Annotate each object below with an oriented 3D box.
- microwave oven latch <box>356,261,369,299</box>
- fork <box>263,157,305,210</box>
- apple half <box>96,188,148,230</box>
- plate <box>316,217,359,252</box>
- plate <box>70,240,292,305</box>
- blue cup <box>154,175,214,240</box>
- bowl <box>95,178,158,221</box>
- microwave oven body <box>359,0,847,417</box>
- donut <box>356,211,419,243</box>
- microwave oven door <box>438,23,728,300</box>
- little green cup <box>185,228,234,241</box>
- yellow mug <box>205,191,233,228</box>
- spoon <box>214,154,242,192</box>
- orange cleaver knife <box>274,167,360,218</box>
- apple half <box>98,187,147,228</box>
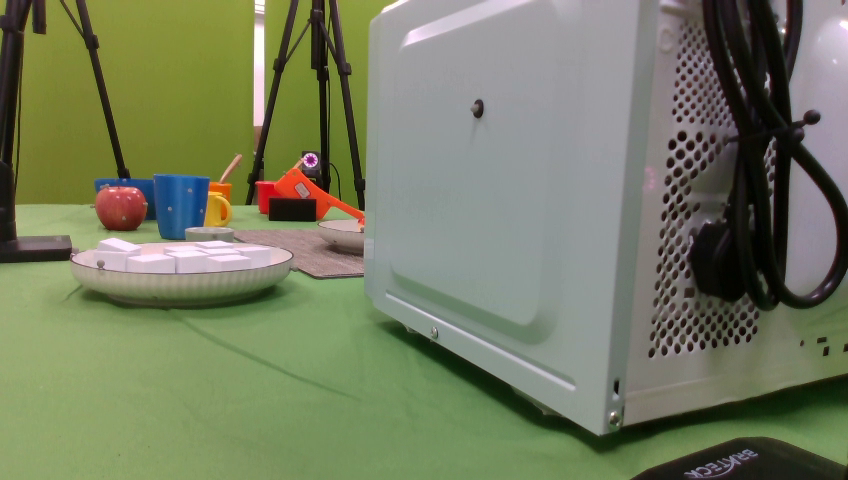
[{"bbox_3d":[-0.019,0.034,0.525,0.079,0.029,0.030,1,7,-18],"label":"microwave oven latch"},{"bbox_3d":[-0.344,-0.143,1.505,0.028,0.019,0.207,-4,46,29],"label":"fork"},{"bbox_3d":[-0.516,-0.052,1.036,0.081,0.074,0.053,2,10,-26],"label":"apple half"},{"bbox_3d":[-0.063,-0.007,0.943,0.209,0.038,0.209,3,7,0],"label":"plate"},{"bbox_3d":[-0.241,0.032,0.617,0.208,0.039,0.207,2,7,0],"label":"plate"},{"bbox_3d":[-0.390,-0.053,0.977,0.093,0.100,0.092,3,6,0],"label":"blue cup"},{"bbox_3d":[-0.576,-0.081,1.216,0.151,0.077,0.151,3,7,0],"label":"bowl"},{"bbox_3d":[0.211,-0.047,0.474,0.444,0.260,0.324,-1,8,-28],"label":"microwave oven body"},{"bbox_3d":[-0.056,-0.018,0.944,0.099,0.048,0.099,5,6,0],"label":"donut"},{"bbox_3d":[0.181,-0.072,0.620,0.358,0.243,0.039,-2,8,-29],"label":"microwave oven door"},{"bbox_3d":[-0.284,0.005,0.804,0.061,0.038,0.061,2,8,0],"label":"little green cup"},{"bbox_3d":[-0.414,-0.057,1.131,0.130,0.064,0.100,5,8,16],"label":"yellow mug"},{"bbox_3d":[-0.439,-0.124,1.317,0.041,0.193,0.022,6,-36,16],"label":"spoon"},{"bbox_3d":[-0.238,-0.091,1.380,0.212,0.077,0.012,31,0,-19],"label":"orange cleaver knife"},{"bbox_3d":[-0.533,-0.059,1.070,0.082,0.081,0.032,-1,12,-26],"label":"apple half"}]
